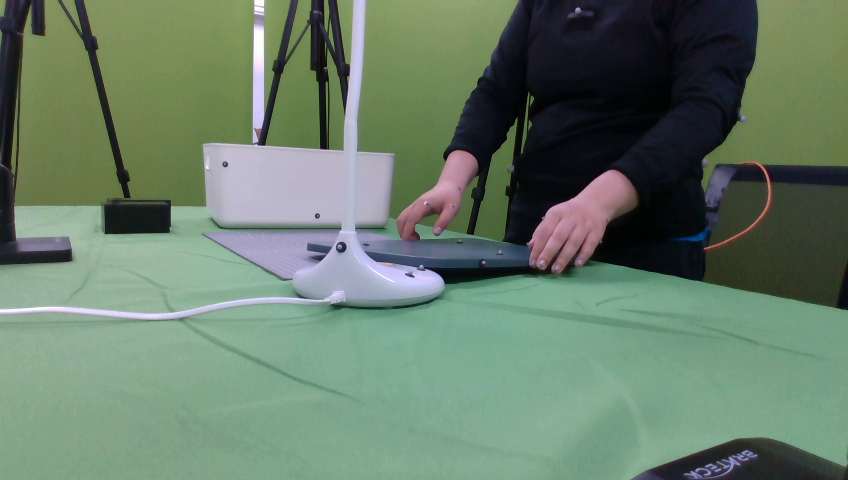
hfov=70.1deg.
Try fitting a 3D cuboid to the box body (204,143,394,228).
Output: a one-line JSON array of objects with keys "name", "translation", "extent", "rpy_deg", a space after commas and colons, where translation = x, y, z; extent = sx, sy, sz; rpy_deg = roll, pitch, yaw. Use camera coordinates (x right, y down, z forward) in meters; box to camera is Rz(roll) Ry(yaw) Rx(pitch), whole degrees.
[{"name": "box body", "translation": [-0.271, -0.117, 1.291], "extent": [0.366, 0.160, 0.253], "rpy_deg": [-1, 8, -25]}]

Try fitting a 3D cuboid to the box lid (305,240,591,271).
[{"name": "box lid", "translation": [0.043, 0.018, 0.879], "extent": [0.262, 0.015, 0.374], "rpy_deg": [7, 5, 44]}]

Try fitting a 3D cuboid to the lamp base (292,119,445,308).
[{"name": "lamp base", "translation": [-0.056, -0.030, 0.616], "extent": [0.160, 0.180, 0.179], "rpy_deg": [4, 10, 8]}]

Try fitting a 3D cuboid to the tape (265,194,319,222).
[{"name": "tape", "translation": [-0.284, -0.069, 1.298], "extent": [0.117, 0.052, 0.117], "rpy_deg": [3, 7, 0]}]
